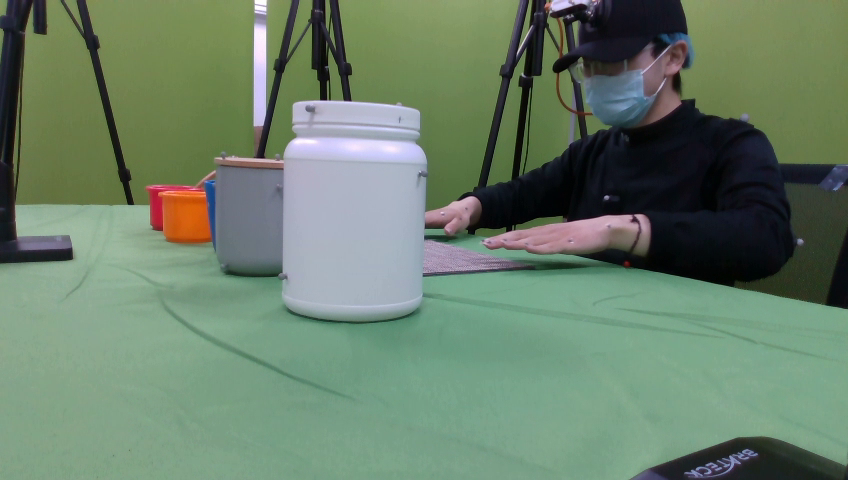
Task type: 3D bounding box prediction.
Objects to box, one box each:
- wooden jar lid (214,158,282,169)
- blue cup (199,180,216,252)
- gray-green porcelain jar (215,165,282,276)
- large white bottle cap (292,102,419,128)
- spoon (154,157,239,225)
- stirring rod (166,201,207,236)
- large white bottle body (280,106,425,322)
[{"bbox_3d":[-0.193,-0.085,0.719,0.108,0.020,0.108,2,9,0],"label":"wooden jar lid"},{"bbox_3d":[-0.267,-0.032,0.860,0.093,0.100,0.092,2,9,0],"label":"blue cup"},{"bbox_3d":[-0.195,-0.024,0.726,0.106,0.126,0.106,3,7,0],"label":"gray-green porcelain jar"},{"bbox_3d":[-0.061,-0.111,0.547,0.115,0.018,0.115,2,8,0],"label":"large white bottle cap"},{"bbox_3d":[-0.411,-0.092,1.105,0.041,0.022,0.194,13,56,51],"label":"spoon"},{"bbox_3d":[-0.341,-0.066,0.966,0.176,0.006,0.014,-42,23,-9],"label":"stirring rod"},{"bbox_3d":[-0.065,-0.028,0.559,0.131,0.184,0.130,2,7,0],"label":"large white bottle body"}]
